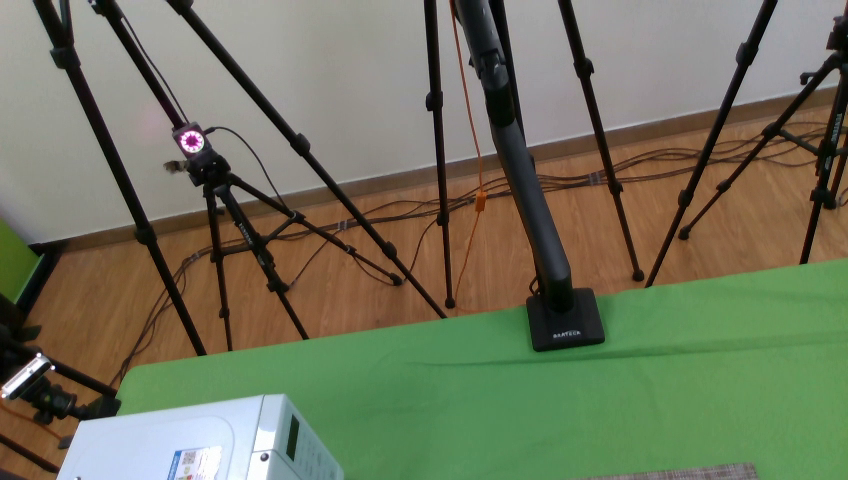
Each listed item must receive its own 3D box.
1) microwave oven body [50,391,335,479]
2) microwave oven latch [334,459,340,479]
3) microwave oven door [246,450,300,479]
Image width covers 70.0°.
[{"bbox_3d":[-0.306,0.455,0.737,0.326,0.263,0.437,-10,45,8],"label":"microwave oven body"},{"bbox_3d":[-0.142,0.369,0.905,0.030,0.030,0.078,-10,45,9],"label":"microwave oven latch"},{"bbox_3d":[-0.164,0.454,0.682,0.039,0.246,0.352,-11,45,9],"label":"microwave oven door"}]
